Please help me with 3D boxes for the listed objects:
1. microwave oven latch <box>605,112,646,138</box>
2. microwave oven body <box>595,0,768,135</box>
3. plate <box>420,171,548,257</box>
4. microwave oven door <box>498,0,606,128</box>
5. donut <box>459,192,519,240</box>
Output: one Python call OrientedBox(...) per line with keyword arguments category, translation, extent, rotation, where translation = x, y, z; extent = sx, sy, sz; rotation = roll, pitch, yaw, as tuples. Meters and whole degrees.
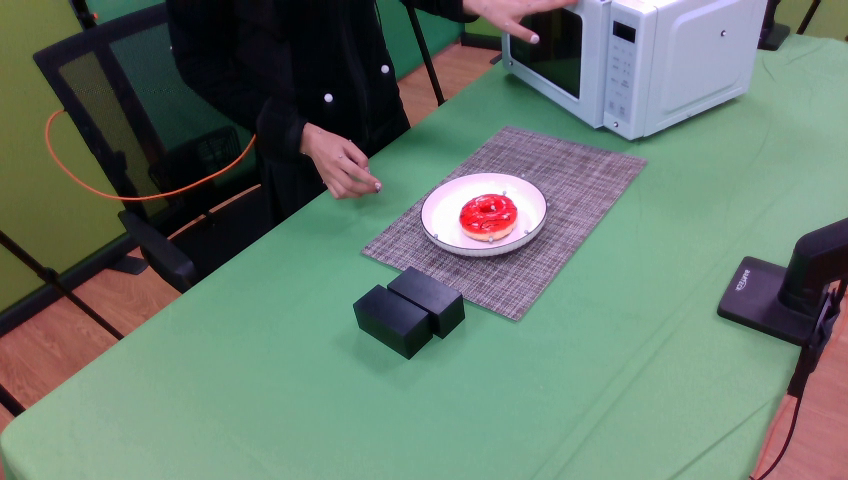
OrientedBox(category="microwave oven latch", translation=(0.375, -0.217, 1.130), extent=(0.030, 0.029, 0.078), rotation=(-24, 42, -16))
OrientedBox(category="microwave oven body", translation=(0.411, -0.441, 1.235), extent=(0.327, 0.261, 0.437), rotation=(-25, 42, -16))
OrientedBox(category="plate", translation=(0.098, -0.040, 0.994), extent=(0.209, 0.038, 0.208), rotation=(-5, 40, 5))
OrientedBox(category="microwave oven door", translation=(0.253, -0.406, 1.216), extent=(0.039, 0.245, 0.352), rotation=(-22, 42, -14))
OrientedBox(category="donut", translation=(0.105, -0.040, 0.976), extent=(0.099, 0.048, 0.098), rotation=(-7, 41, 6))
